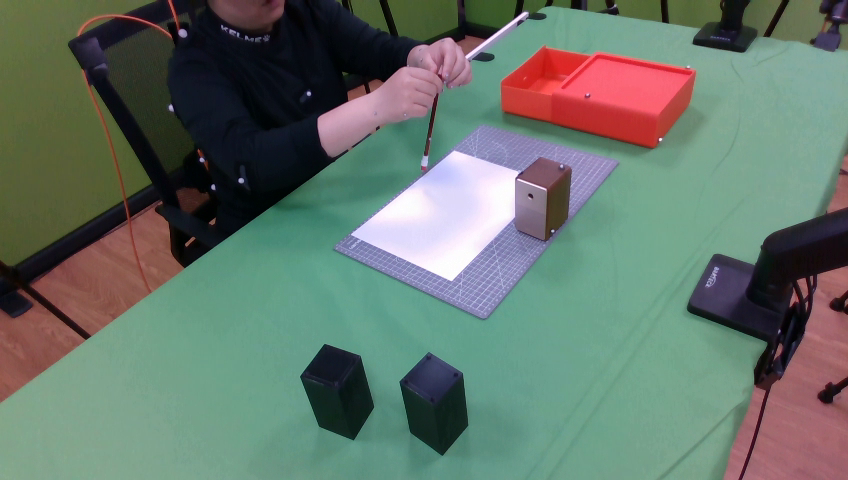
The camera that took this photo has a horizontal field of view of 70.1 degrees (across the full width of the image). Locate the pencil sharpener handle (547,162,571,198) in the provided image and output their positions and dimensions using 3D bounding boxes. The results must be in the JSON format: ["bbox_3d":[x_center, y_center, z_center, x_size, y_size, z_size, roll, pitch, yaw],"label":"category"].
[{"bbox_3d":[0.221,-0.102,0.968,0.035,0.068,0.031,20,47,37],"label":"pencil sharpener handle"}]

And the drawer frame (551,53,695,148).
[{"bbox_3d":[0.391,-0.281,1.196,0.212,0.083,0.202,22,48,29],"label":"drawer frame"}]

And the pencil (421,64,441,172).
[{"bbox_3d":[0.012,-0.204,1.033,0.012,0.194,0.012,7,33,-4],"label":"pencil"}]

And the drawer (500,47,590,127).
[{"bbox_3d":[0.296,-0.316,1.255,0.210,0.073,0.195,22,48,29],"label":"drawer"}]

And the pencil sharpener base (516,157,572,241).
[{"bbox_3d":[0.189,-0.065,0.948,0.061,0.107,0.077,24,49,33],"label":"pencil sharpener base"}]
